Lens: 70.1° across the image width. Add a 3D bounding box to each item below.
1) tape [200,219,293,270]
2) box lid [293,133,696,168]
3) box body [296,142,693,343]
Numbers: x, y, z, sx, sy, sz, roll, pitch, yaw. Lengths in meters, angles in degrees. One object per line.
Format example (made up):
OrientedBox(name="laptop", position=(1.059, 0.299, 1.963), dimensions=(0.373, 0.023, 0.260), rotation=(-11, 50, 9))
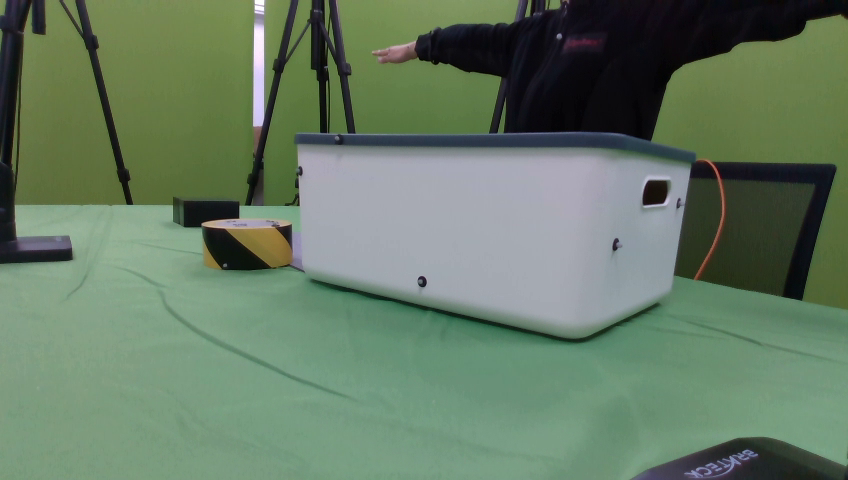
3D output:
OrientedBox(name="tape", position=(-0.228, 0.003, 0.778), dimensions=(0.117, 0.052, 0.117), rotation=(1, 8, 0))
OrientedBox(name="box lid", position=(0.068, -0.094, 0.645), dimensions=(0.369, 0.015, 0.265), rotation=(9, 8, 37))
OrientedBox(name="box body", position=(0.065, -0.020, 0.653), dimensions=(0.362, 0.160, 0.255), rotation=(9, 9, 37))
